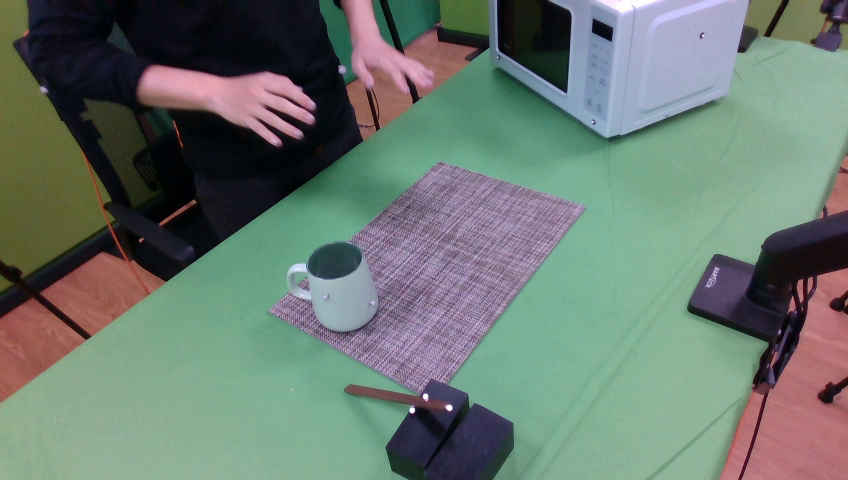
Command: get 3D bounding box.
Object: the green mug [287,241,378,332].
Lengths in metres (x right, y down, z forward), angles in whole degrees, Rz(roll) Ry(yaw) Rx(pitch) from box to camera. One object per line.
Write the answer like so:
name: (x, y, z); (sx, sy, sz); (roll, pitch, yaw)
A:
green mug: (-0.131, 0.065, 0.843); (0.125, 0.105, 0.092); (3, 42, 12)

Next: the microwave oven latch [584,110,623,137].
microwave oven latch: (0.337, -0.222, 1.142); (0.030, 0.029, 0.078); (-21, 42, -14)

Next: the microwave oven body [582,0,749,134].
microwave oven body: (0.382, -0.444, 1.246); (0.327, 0.261, 0.437); (-22, 42, -16)

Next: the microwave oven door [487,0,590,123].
microwave oven door: (0.232, -0.420, 1.230); (0.039, 0.245, 0.352); (-22, 42, -16)

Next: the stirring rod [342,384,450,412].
stirring rod: (-0.038, 0.186, 0.714); (0.175, 0.006, 0.014); (-3, 22, 43)
